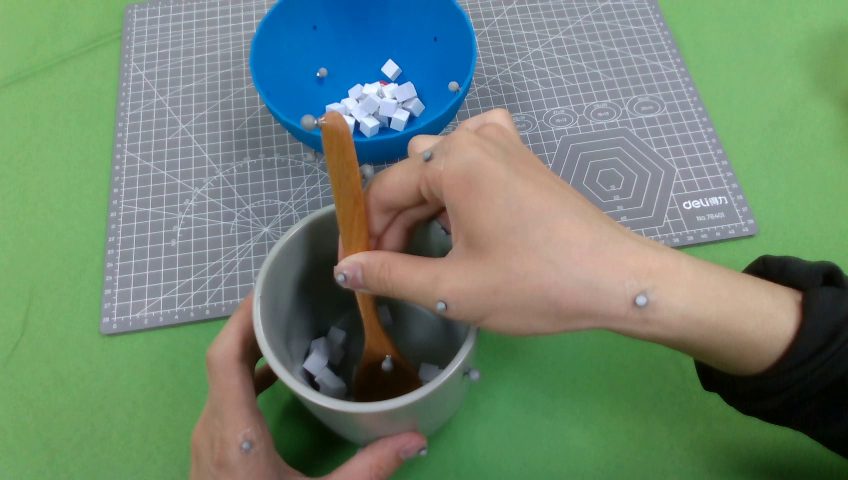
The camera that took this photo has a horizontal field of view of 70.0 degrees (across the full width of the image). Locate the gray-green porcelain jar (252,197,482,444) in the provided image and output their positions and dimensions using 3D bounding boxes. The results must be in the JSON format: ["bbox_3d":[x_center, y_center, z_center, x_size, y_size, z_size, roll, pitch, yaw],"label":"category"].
[{"bbox_3d":[-0.024,0.052,0.330,0.106,0.127,0.105,-1,64,1],"label":"gray-green porcelain jar"}]

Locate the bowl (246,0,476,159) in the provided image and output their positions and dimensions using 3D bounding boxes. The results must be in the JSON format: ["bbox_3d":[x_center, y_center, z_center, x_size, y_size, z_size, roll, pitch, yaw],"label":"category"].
[{"bbox_3d":[-0.040,-0.111,0.431,0.151,0.077,0.150,0,64,1],"label":"bowl"}]

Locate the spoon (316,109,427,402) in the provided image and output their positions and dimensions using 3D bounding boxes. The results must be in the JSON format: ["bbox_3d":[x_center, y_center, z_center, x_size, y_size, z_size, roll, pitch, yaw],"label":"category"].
[{"bbox_3d":[-0.026,0.027,0.295,0.041,0.195,0.021,2,42,12],"label":"spoon"}]
